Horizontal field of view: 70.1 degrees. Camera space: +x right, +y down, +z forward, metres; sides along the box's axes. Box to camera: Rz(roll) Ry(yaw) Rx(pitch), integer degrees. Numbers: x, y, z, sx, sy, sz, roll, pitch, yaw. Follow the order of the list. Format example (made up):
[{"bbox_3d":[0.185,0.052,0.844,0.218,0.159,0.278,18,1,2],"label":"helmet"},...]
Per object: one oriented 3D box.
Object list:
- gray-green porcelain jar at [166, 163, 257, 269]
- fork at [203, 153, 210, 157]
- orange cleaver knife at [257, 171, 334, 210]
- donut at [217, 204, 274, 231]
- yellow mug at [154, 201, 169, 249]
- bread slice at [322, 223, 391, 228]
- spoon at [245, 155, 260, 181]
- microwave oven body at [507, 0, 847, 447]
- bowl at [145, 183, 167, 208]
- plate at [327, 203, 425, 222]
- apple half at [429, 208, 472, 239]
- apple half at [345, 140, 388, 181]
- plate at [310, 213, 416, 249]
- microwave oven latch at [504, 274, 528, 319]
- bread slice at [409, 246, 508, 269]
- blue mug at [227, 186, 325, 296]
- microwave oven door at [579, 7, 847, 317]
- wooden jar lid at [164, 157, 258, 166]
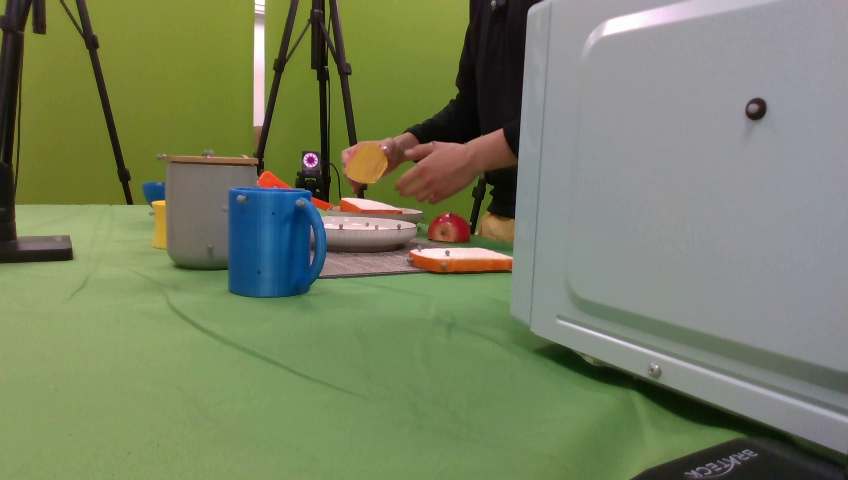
[{"bbox_3d":[-0.263,-0.031,0.754,0.106,0.126,0.106,2,7,0],"label":"gray-green porcelain jar"},{"bbox_3d":[-0.480,-0.136,1.411,0.028,0.018,0.207,1,-34,-1],"label":"fork"},{"bbox_3d":[-0.283,-0.087,1.343,0.212,0.077,0.012,24,-16,-41],"label":"orange cleaver knife"},{"bbox_3d":[-0.318,-0.038,1.080,0.099,0.048,0.099,3,7,0],"label":"donut"},{"bbox_3d":[-0.337,-0.022,0.899,0.130,0.064,0.100,8,9,34],"label":"yellow mug"},{"bbox_3d":[-0.116,-0.014,0.974,0.135,0.018,0.106,-5,11,-42],"label":"bread slice"},{"bbox_3d":[-0.421,-0.150,1.540,0.042,0.021,0.193,-5,55,-37],"label":"spoon"},{"bbox_3d":[0.331,-0.042,0.425,0.444,0.260,0.324,-2,8,-31],"label":"microwave oven body"},{"bbox_3d":[-0.459,-0.068,1.175,0.151,0.077,0.151,2,7,0],"label":"bowl"},{"bbox_3d":[-0.102,-0.053,1.299,0.209,0.038,0.209,2,8,0],"label":"plate"},{"bbox_3d":[0.048,-0.032,1.116,0.080,0.053,0.075,6,9,22],"label":"apple half"},{"bbox_3d":[-0.107,-0.145,1.094,0.082,0.081,0.032,-3,27,-31],"label":"apple half"},{"bbox_3d":[-0.116,-0.014,0.968,0.208,0.039,0.207,2,8,0],"label":"plate"},{"bbox_3d":[0.100,0.041,0.471,0.079,0.029,0.030,-1,7,-28],"label":"microwave oven latch"},{"bbox_3d":[0.048,0.022,0.816,0.132,0.019,0.104,0,7,-24],"label":"bread slice"},{"bbox_3d":[-0.147,0.000,0.618,0.116,0.106,0.083,7,9,32],"label":"blue mug"},{"bbox_3d":[0.294,-0.067,0.570,0.358,0.243,0.039,-3,9,-31],"label":"microwave oven door"},{"bbox_3d":[-0.261,-0.093,0.746,0.108,0.020,0.108,0,9,0],"label":"wooden jar lid"}]
